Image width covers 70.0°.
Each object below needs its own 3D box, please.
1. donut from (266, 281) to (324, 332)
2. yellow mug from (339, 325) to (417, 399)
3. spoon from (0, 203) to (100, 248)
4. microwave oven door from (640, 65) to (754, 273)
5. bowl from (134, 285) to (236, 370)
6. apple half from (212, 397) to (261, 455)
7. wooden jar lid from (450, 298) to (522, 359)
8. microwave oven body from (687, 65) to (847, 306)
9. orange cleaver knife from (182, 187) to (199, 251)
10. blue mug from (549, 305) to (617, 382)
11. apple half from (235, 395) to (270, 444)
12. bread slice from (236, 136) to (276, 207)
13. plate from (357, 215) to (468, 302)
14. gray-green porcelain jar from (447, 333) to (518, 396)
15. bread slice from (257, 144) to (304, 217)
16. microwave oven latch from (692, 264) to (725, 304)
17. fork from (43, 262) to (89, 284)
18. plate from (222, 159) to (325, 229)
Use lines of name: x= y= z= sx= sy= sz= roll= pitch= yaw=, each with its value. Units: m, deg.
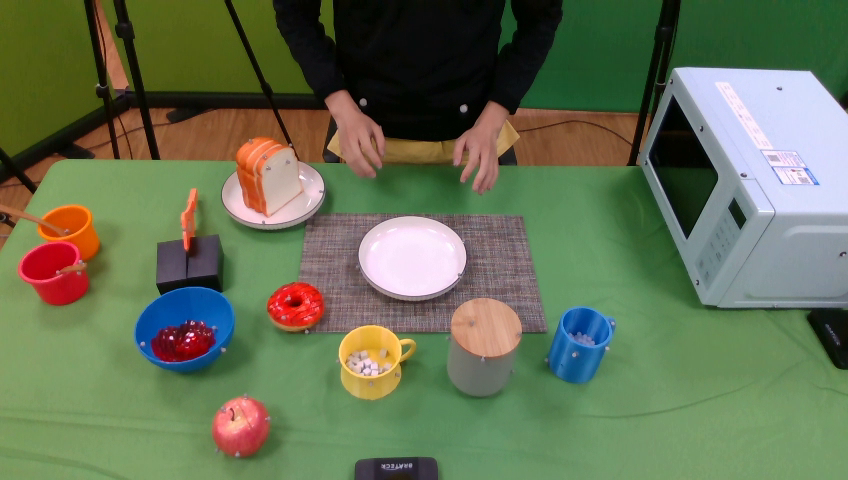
donut: x=-0.222 y=0.114 z=1.049 sx=0.099 sy=0.048 sz=0.098 roll=2 pitch=45 yaw=-2
yellow mug: x=-0.072 y=0.191 z=0.978 sx=0.131 sy=0.064 sz=0.099 roll=-17 pitch=49 yaw=-20
spoon: x=-0.683 y=-0.031 z=1.088 sx=0.195 sy=0.021 sz=0.041 roll=33 pitch=33 yaw=-38
microwave oven door: x=0.523 y=-0.147 z=1.193 sx=0.039 sy=0.245 sz=0.353 roll=0 pitch=47 yaw=-3
bowl: x=-0.377 y=0.155 z=0.981 sx=0.151 sy=0.077 sz=0.150 roll=2 pitch=46 yaw=-2
apple half: x=-0.276 y=0.276 z=0.877 sx=0.053 sy=0.075 sz=0.080 roll=-29 pitch=58 yaw=-21
wooden jar lid: x=0.093 y=0.135 z=0.914 sx=0.108 sy=0.021 sz=0.107 roll=2 pitch=48 yaw=-3
microwave oven body: x=0.669 y=-0.111 z=1.176 sx=0.326 sy=0.261 sz=0.439 roll=0 pitch=46 yaw=-3
orange cleaver knife: x=-0.445 y=-0.045 z=1.163 sx=0.012 sy=0.077 sz=0.210 roll=-5 pitch=24 yaw=-13
blue mug: x=0.269 y=0.165 z=0.997 sx=0.116 sy=0.106 sz=0.082 roll=-19 pitch=51 yaw=-21
apple half: x=-0.245 y=0.259 z=0.893 sx=0.033 sy=0.082 sz=0.081 roll=-29 pitch=55 yaw=-22
bread slice: x=-0.331 y=-0.147 z=1.225 sx=0.019 sy=0.132 sz=0.105 roll=24 pitch=47 yaw=27
plate: x=-0.022 y=0.037 z=1.141 sx=0.208 sy=0.039 sz=0.206 roll=2 pitch=46 yaw=-2
gray-green porcelain jar: x=0.091 y=0.178 z=0.960 sx=0.106 sy=0.127 sz=0.105 roll=2 pitch=46 yaw=-2
bread slice: x=-0.290 y=-0.124 z=1.205 sx=0.018 sy=0.135 sz=0.107 roll=25 pitch=53 yaw=23
microwave oven latch: x=0.522 y=0.081 z=1.116 sx=0.030 sy=0.029 sz=0.078 roll=1 pitch=46 yaw=-2
fork: x=-0.599 y=0.053 z=1.013 sx=0.207 sy=0.019 sz=0.028 roll=-14 pitch=30 yaw=45
plate: x=-0.308 y=-0.095 z=1.251 sx=0.209 sy=0.038 sz=0.208 roll=2 pitch=46 yaw=-2
